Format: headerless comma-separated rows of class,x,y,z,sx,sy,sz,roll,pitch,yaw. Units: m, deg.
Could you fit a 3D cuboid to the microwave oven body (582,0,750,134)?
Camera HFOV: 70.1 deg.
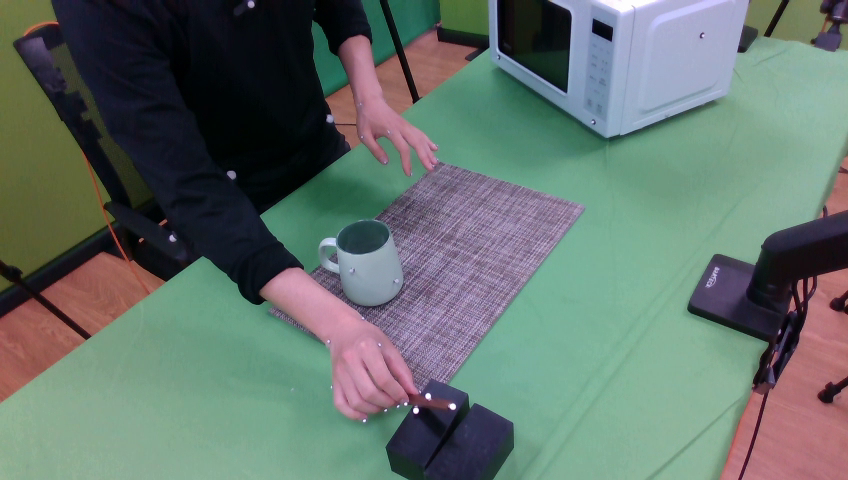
microwave oven body,0.382,-0.445,1.246,0.327,0.261,0.437,-22,42,-16

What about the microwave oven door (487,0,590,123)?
microwave oven door,0.232,-0.420,1.230,0.039,0.245,0.352,-22,43,-16

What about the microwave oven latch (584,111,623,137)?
microwave oven latch,0.337,-0.222,1.142,0.030,0.029,0.078,-21,42,-14

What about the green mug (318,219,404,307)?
green mug,-0.096,0.032,0.876,0.125,0.105,0.092,8,43,17

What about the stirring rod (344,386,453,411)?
stirring rod,-0.034,0.186,0.713,0.175,0.006,0.014,-5,26,43
